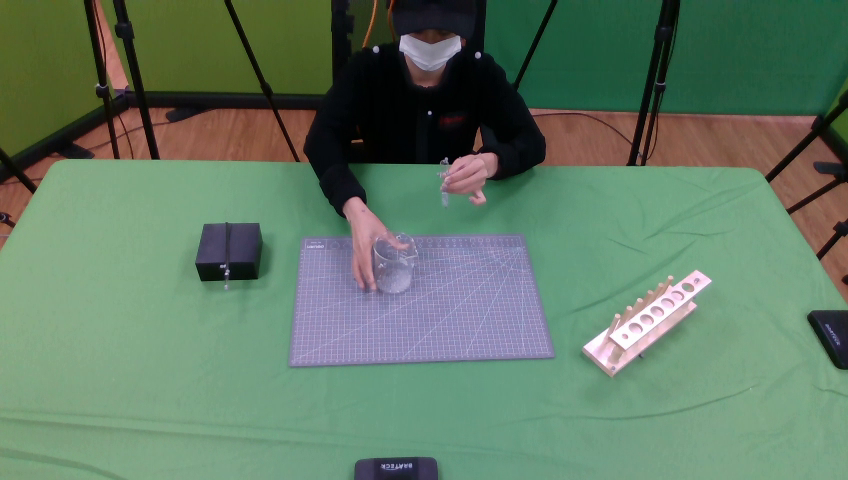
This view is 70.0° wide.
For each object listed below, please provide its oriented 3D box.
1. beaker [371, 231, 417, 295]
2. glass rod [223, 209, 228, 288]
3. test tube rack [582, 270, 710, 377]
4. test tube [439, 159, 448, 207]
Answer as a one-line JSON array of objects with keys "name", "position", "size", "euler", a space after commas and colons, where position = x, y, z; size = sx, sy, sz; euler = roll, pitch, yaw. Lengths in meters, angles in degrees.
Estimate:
[{"name": "beaker", "position": [-0.054, 0.045, 1.093], "size": [0.084, 0.101, 0.073], "euler": [17, 47, 11]}, {"name": "glass rod", "position": [-0.361, 0.011, 1.098], "size": [0.008, 0.008, 0.198], "euler": [-7, 47, -12]}, {"name": "test tube rack", "position": [0.389, 0.132, 1.057], "size": [0.242, 0.085, 0.066], "euler": [-28, 54, -28]}, {"name": "test tube", "position": [0.036, -0.102, 1.121], "size": [0.017, 0.151, 0.017], "euler": [-1, 63, 2]}]
